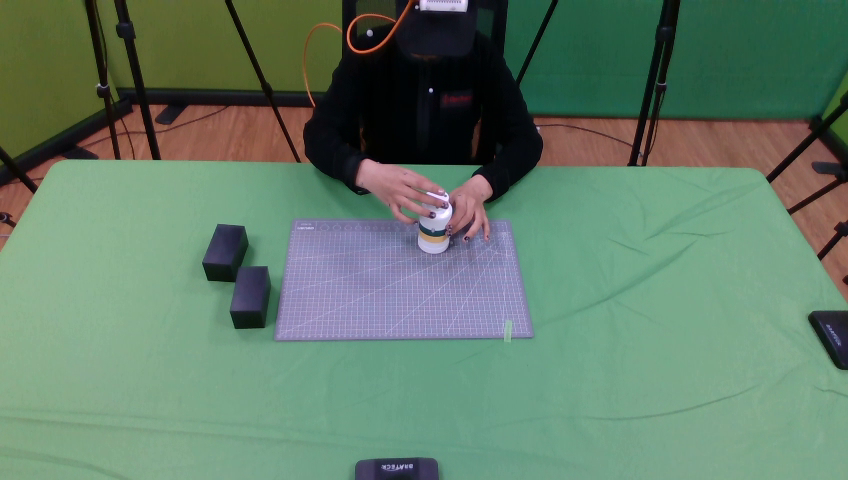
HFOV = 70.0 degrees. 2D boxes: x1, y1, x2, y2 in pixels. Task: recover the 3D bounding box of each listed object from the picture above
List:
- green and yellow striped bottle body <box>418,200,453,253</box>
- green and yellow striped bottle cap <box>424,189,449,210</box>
[{"bbox_3d":[0.022,-0.036,1.160,0.063,0.120,0.063,2,46,-2],"label":"green and yellow striped bottle body"},{"bbox_3d":[0.024,-0.075,1.119,0.045,0.020,0.045,4,40,-4],"label":"green and yellow striped bottle cap"}]
